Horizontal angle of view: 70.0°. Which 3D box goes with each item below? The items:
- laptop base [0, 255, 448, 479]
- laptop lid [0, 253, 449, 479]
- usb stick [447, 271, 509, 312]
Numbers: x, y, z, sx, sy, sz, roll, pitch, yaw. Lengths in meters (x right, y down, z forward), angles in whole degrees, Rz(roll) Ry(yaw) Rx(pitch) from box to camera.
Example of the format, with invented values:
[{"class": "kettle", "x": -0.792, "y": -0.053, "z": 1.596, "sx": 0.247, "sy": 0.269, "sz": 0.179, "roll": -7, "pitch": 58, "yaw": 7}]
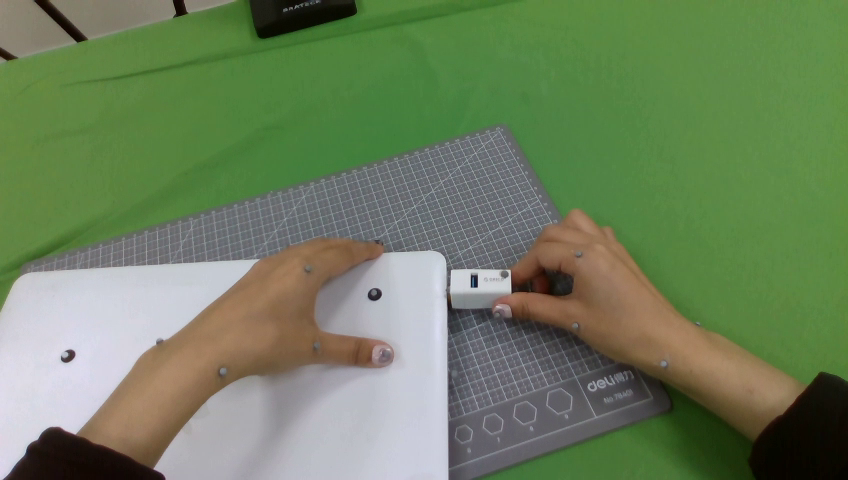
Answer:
[{"class": "laptop base", "x": -0.158, "y": 0.120, "z": 0.424, "sx": 0.354, "sy": 0.023, "sz": 0.233, "roll": -3, "pitch": 57, "yaw": 5}, {"class": "laptop lid", "x": -0.160, "y": 0.115, "z": 0.413, "sx": 0.356, "sy": 0.013, "sz": 0.239, "roll": -2, "pitch": 56, "yaw": 6}, {"class": "usb stick", "x": 0.033, "y": 0.038, "z": 0.443, "sx": 0.059, "sy": 0.027, "sz": 0.021, "roll": -2, "pitch": 52, "yaw": 9}]
